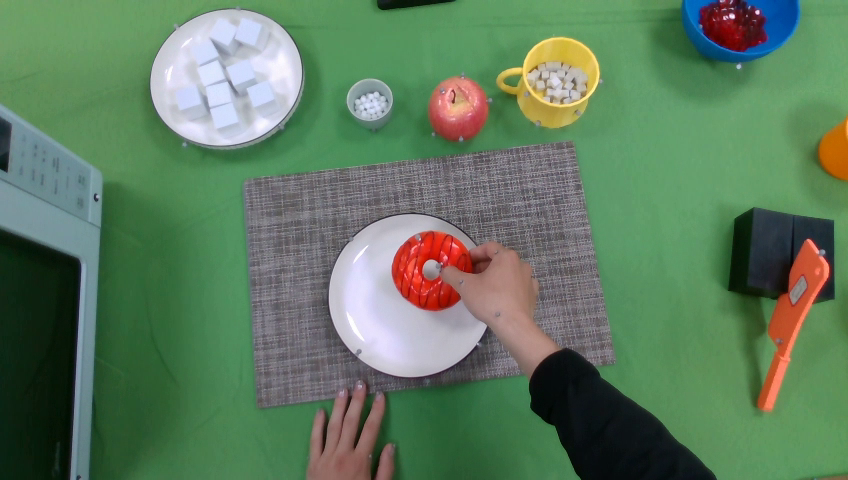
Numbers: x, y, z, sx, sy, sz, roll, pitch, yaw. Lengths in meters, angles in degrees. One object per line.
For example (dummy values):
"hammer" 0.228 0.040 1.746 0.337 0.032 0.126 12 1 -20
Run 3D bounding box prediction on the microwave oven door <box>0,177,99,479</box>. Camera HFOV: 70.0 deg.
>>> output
"microwave oven door" -0.425 0.123 0.631 0.039 0.245 0.354 -4 77 0

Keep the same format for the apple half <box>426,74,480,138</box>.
"apple half" 0.031 -0.169 0.801 0.053 0.075 0.080 -33 82 -2

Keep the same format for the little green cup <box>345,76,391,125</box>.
"little green cup" -0.073 -0.187 0.823 0.061 0.039 0.061 0 77 1

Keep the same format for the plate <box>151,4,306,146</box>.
"plate" -0.264 -0.223 0.832 0.208 0.039 0.206 0 77 0

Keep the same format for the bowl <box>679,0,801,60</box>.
"bowl" 0.414 -0.303 0.826 0.151 0.077 0.150 0 77 1

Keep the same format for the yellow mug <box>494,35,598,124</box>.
"yellow mug" 0.160 -0.215 0.814 0.131 0.064 0.099 4 77 2

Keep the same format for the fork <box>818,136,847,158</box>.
"fork" 0.609 -0.133 0.749 0.206 0.019 0.028 -11 69 43

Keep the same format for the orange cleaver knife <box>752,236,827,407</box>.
"orange cleaver knife" 0.431 0.100 0.728 0.012 0.077 0.212 12 109 5

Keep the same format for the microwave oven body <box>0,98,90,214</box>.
"microwave oven body" -0.574 0.093 0.644 0.326 0.261 0.439 -4 78 -1

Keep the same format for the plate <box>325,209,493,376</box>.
"plate" -0.018 0.065 0.762 0.209 0.038 0.208 0 77 1

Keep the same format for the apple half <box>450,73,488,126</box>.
"apple half" 0.064 -0.191 0.804 0.033 0.081 0.081 -34 78 -2

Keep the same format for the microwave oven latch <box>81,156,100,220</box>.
"microwave oven latch" -0.436 -0.066 0.779 0.030 0.029 0.079 -3 78 -1

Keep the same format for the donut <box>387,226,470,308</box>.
"donut" 0.006 0.033 0.723 0.099 0.048 0.099 0 92 4
